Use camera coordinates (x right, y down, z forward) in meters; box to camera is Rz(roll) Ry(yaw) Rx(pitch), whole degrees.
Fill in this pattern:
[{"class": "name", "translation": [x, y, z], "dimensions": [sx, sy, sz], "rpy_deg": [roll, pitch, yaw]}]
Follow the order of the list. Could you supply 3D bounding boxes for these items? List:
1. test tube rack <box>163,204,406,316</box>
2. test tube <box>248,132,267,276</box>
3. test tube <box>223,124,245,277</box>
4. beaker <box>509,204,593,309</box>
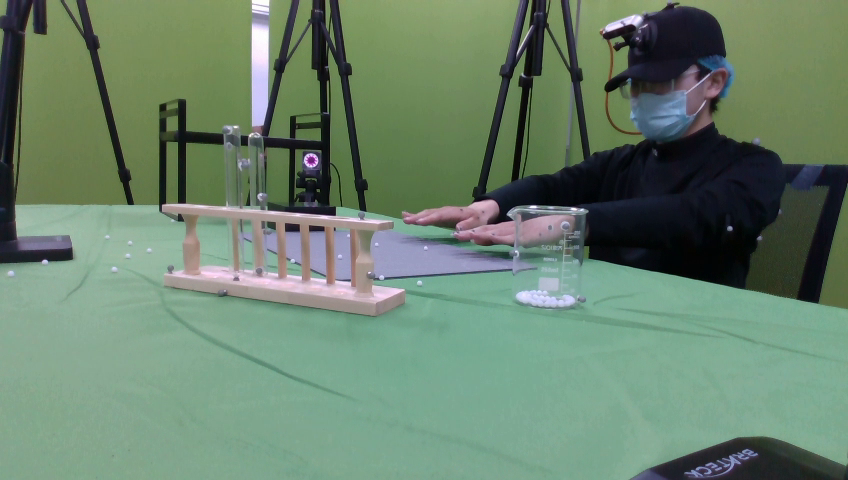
[{"class": "test tube rack", "translation": [-0.141, 0.013, 0.601], "dimensions": [0.241, 0.085, 0.067], "rpy_deg": [5, 8, 21]}, {"class": "test tube", "translation": [-0.173, -0.036, 0.629], "dimensions": [0.017, 0.150, 0.017], "rpy_deg": [0, 7, 0]}, {"class": "test tube", "translation": [-0.186, -0.037, 0.592], "dimensions": [0.017, 0.150, 0.017], "rpy_deg": [1, 11, 0]}, {"class": "beaker", "translation": [0.126, 0.015, 0.613], "dimensions": [0.084, 0.100, 0.074], "rpy_deg": [1, 7, -5]}]
